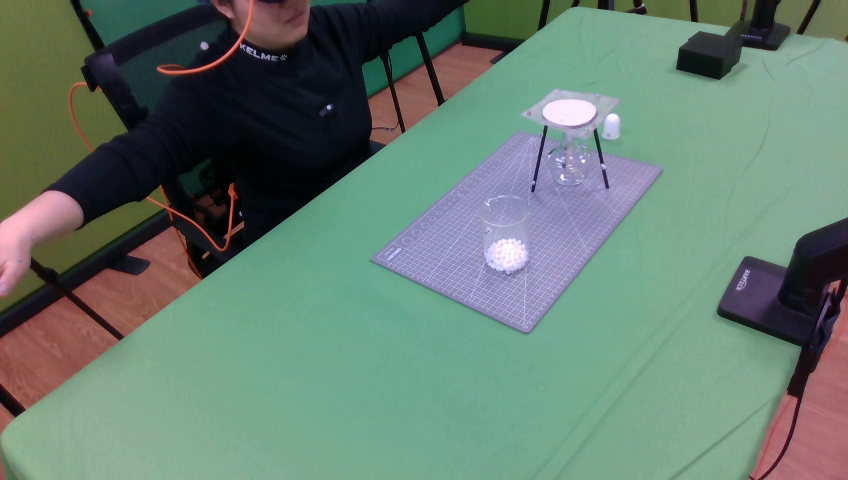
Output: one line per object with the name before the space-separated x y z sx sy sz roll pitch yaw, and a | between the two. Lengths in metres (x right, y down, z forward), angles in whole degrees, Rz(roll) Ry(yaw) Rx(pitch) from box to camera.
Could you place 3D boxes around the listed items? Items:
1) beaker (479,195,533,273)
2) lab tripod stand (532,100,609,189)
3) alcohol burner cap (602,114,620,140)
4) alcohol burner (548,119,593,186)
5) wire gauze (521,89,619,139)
beaker | 0.122 -0.007 0.904 0.074 0.101 0.083 -30 43 -23
lab tripod stand | 0.251 -0.161 1.034 0.148 0.132 0.147 -4 39 4
alcohol burner cap | 0.359 -0.217 1.157 0.034 0.048 0.033 -7 40 6
alcohol burner | 0.252 -0.154 1.042 0.078 0.120 0.077 -7 40 6
wire gauze | 0.239 -0.213 0.994 0.124 0.011 0.122 24 49 32
